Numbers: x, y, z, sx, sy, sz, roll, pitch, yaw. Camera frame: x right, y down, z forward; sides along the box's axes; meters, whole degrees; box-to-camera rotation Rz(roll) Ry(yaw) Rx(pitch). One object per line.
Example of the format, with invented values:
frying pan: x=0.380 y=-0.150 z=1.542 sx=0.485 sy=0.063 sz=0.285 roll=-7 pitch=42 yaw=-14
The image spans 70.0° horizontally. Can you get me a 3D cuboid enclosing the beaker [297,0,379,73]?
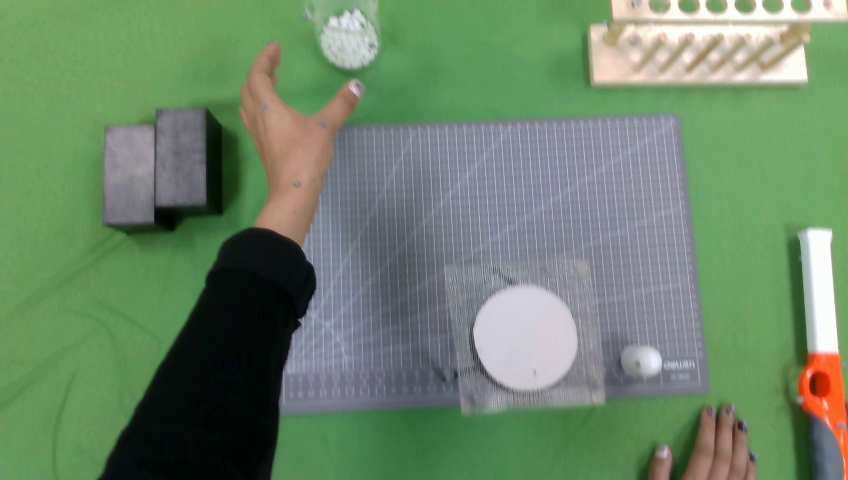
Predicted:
beaker: x=-0.083 y=-0.224 z=0.631 sx=0.074 sy=0.100 sz=0.084 roll=-33 pitch=84 yaw=-6

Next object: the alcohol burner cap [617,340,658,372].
alcohol burner cap: x=0.220 y=0.119 z=0.616 sx=0.034 sy=0.048 sz=0.033 roll=0 pitch=81 yaw=0

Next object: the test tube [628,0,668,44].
test tube: x=0.234 y=-0.240 z=0.601 sx=0.017 sy=0.151 sz=0.017 roll=0 pitch=77 yaw=-2

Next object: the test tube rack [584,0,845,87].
test tube rack: x=0.305 y=-0.214 z=0.649 sx=0.242 sy=0.085 sz=0.066 roll=-1 pitch=81 yaw=-2

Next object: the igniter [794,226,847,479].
igniter: x=0.412 y=0.122 z=0.632 sx=0.057 sy=0.025 sz=0.275 roll=3 pitch=82 yaw=-11

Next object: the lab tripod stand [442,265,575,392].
lab tripod stand: x=0.078 y=0.088 z=0.570 sx=0.148 sy=0.132 sz=0.148 roll=0 pitch=80 yaw=0

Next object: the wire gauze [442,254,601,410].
wire gauze: x=0.082 y=0.074 z=0.504 sx=0.125 sy=0.011 sz=0.121 roll=-4 pitch=80 yaw=-3

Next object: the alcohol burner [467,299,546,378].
alcohol burner: x=0.082 y=0.093 z=0.579 sx=0.078 sy=0.119 sz=0.077 roll=1 pitch=79 yaw=-3
